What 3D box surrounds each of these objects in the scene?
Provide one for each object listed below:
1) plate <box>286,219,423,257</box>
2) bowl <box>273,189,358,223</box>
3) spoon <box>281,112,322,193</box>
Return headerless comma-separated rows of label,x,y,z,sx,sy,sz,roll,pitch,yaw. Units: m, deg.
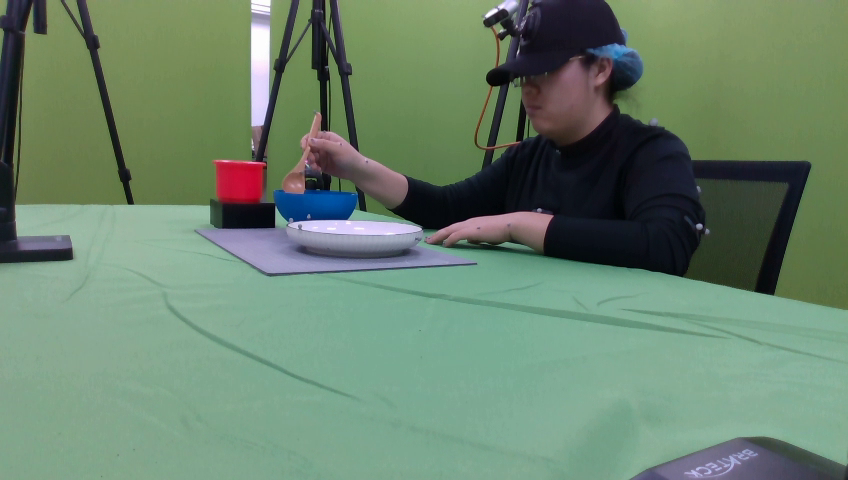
plate,-0.105,-0.003,0.922,0.208,0.039,0.207,3,7,0
bowl,-0.194,-0.049,1.083,0.151,0.077,0.151,3,7,0
spoon,-0.214,-0.156,1.095,0.042,0.193,0.021,24,-26,-20
